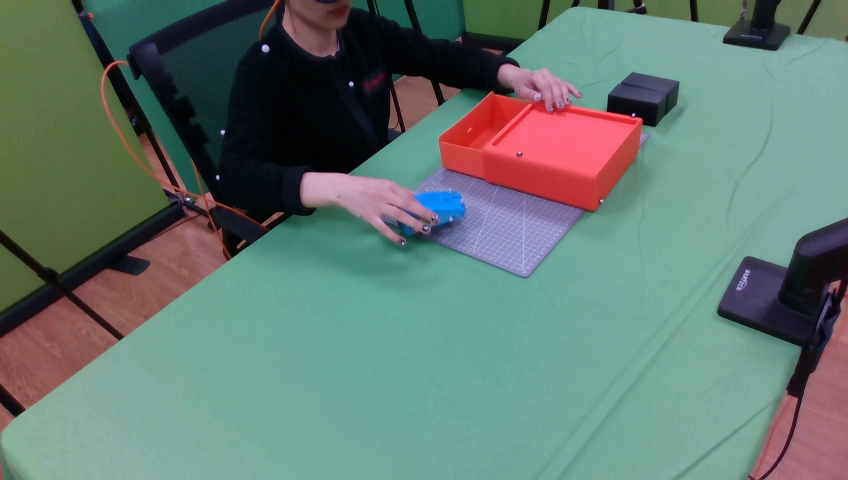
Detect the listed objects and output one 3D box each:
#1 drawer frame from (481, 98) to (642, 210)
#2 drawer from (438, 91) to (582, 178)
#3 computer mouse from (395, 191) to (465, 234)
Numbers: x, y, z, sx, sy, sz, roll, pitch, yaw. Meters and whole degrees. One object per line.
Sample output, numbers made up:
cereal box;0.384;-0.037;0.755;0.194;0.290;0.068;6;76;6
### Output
drawer frame;0.244;-0.160;1.073;0.212;0.083;0.202;20;47;29
drawer;0.166;-0.188;1.123;0.210;0.073;0.195;21;48;30
computer mouse;0.009;-0.051;0.996;0.117;0.041;0.062;-15;39;-2
